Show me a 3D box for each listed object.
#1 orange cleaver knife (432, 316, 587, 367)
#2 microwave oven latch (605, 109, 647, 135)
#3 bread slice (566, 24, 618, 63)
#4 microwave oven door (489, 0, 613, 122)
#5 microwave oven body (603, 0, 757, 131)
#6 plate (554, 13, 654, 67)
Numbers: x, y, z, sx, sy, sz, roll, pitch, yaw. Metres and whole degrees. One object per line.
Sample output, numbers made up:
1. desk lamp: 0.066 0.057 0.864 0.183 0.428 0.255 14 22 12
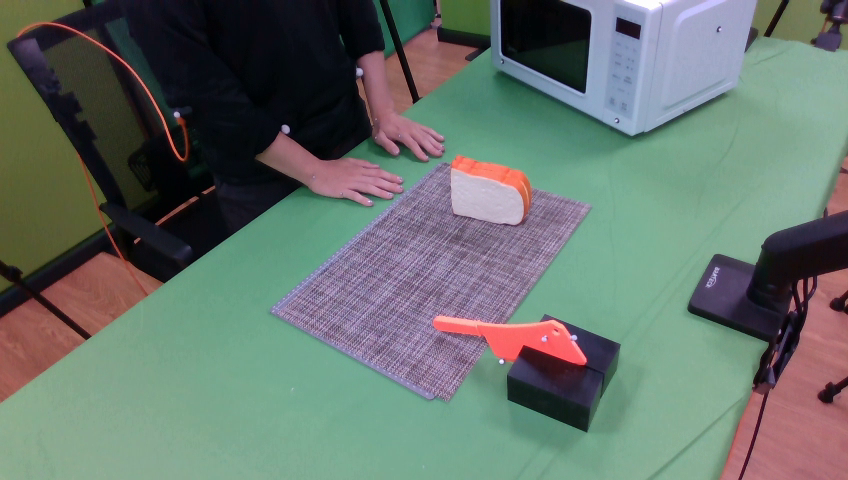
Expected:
1. orange cleaver knife: 0.101 0.127 0.761 0.210 0.077 0.012 -1 34 40
2. microwave oven latch: 0.379 -0.225 1.139 0.030 0.029 0.078 -26 43 -19
3. bread slice: 0.362 -0.430 1.321 0.107 0.018 0.134 1 50 9
4. microwave oven door: 0.251 -0.412 1.219 0.039 0.245 0.352 -27 44 -21
5. microwave oven body: 0.396 -0.448 1.248 0.327 0.261 0.437 -27 44 -21
6. plate: 0.386 -0.428 1.307 0.207 0.039 0.206 -4 44 5
